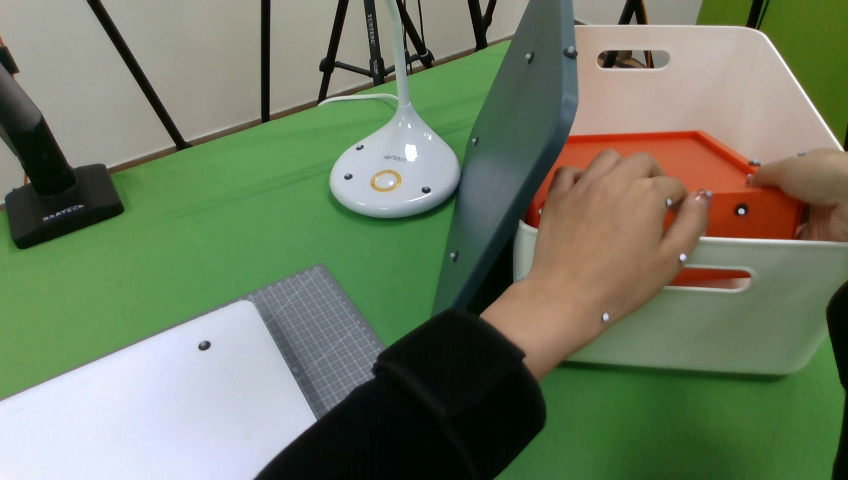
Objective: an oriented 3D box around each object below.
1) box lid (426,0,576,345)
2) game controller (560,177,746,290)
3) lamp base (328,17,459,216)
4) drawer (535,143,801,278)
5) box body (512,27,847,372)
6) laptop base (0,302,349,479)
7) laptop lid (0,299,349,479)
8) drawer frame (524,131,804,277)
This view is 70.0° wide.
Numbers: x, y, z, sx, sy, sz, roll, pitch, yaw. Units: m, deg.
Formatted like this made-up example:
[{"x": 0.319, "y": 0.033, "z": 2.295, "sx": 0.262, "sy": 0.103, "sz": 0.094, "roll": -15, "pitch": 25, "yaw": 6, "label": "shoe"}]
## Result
[{"x": 0.075, "y": -0.101, "z": 0.582, "sx": 0.015, "sy": 0.264, "sz": 0.368, "roll": 20, "pitch": 42, "yaw": -6, "label": "box lid"}, {"x": 0.198, "y": -0.011, "z": 0.541, "sx": 0.155, "sy": 0.052, "sz": 0.096, "roll": -5, "pitch": 51, "yaw": 8, "label": "game controller"}, {"x": -0.041, "y": -0.148, "z": 0.695, "sx": 0.160, "sy": 0.182, "sz": 0.177, "roll": 2, "pitch": 39, "yaw": 8, "label": "lamp base"}, {"x": 0.199, "y": -0.038, "z": 0.568, "sx": 0.194, "sy": 0.074, "sz": 0.210, "roll": -1, "pitch": 22, "yaw": 6, "label": "drawer"}, {"x": 0.214, "y": -0.059, "z": 0.586, "sx": 0.254, "sy": 0.162, "sz": 0.361, "roll": 2, "pitch": 41, "yaw": 8, "label": "box body"}, {"x": -0.256, "y": 0.191, "z": 0.445, "sx": 0.355, "sy": 0.023, "sz": 0.233, "roll": -24, "pitch": 48, "yaw": -22, "label": "laptop base"}, {"x": -0.255, "y": 0.183, "z": 0.435, "sx": 0.357, "sy": 0.013, "sz": 0.239, "roll": -23, "pitch": 46, "yaw": -20, "label": "laptop lid"}, {"x": 0.196, "y": -0.041, "z": 0.570, "sx": 0.201, "sy": 0.083, "sz": 0.212, "roll": -2, "pitch": 21, "yaw": 4, "label": "drawer frame"}]
